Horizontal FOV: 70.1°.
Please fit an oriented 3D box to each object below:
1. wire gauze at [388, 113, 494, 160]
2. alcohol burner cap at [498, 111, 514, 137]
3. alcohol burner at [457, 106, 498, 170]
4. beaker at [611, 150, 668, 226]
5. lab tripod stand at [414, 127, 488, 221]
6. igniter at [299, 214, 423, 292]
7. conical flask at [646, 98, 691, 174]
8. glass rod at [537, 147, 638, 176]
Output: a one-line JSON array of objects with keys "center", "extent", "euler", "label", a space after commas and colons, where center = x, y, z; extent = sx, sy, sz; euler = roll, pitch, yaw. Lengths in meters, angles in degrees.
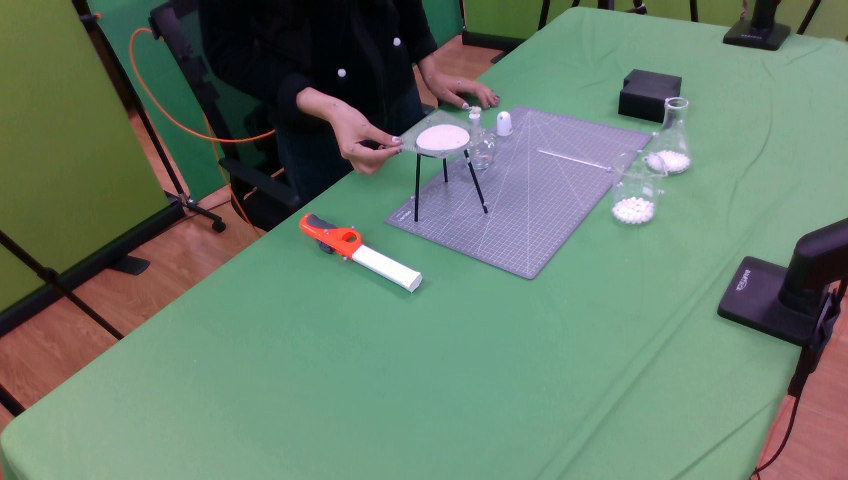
[{"center": [0.027, -0.166, 0.975], "extent": [0.120, 0.011, 0.125], "euler": [28, 48, 36], "label": "wire gauze"}, {"center": [0.163, -0.235, 1.211], "extent": [0.034, 0.048, 0.033], "euler": [-6, 40, 6], "label": "alcohol burner cap"}, {"center": [0.097, -0.192, 1.117], "extent": [0.078, 0.119, 0.077], "euler": [-7, 39, 6], "label": "alcohol burner"}, {"center": [0.337, -0.079, 0.953], "extent": [0.083, 0.101, 0.074], "euler": [25, 51, 33], "label": "beaker"}, {"center": [0.035, -0.114, 1.021], "extent": [0.148, 0.132, 0.147], "euler": [-7, 39, 6], "label": "lab tripod stand"}, {"center": [-0.113, 0.016, 0.983], "extent": [0.274, 0.025, 0.057], "euler": [26, 62, 35], "label": "igniter"}, {"center": [0.426, -0.180, 1.037], "extent": [0.075, 0.122, 0.075], "euler": [-5, 40, 5], "label": "conical flask"}, {"center": [0.294, -0.145, 1.104], "extent": [0.198, 0.008, 0.008], "euler": [22, 50, 31], "label": "glass rod"}]
